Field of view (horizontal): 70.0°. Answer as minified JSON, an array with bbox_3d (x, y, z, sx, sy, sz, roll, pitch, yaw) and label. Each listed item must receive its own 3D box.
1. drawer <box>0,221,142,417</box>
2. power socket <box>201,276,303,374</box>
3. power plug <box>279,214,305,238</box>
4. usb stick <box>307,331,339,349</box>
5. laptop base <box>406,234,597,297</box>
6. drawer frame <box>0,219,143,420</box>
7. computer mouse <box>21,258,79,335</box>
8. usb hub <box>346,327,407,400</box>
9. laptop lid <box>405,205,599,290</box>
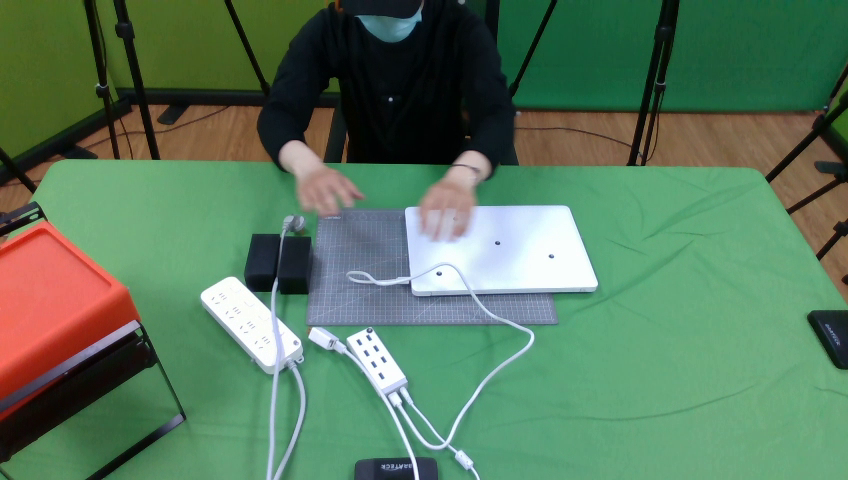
[{"bbox_3d":[-0.516,0.095,0.780,0.193,0.073,0.211,32,53,23],"label":"drawer"},{"bbox_3d":[-0.296,0.142,1.034,0.225,0.033,0.072,37,55,27],"label":"power socket"},{"bbox_3d":[-0.261,-0.020,1.185,0.035,0.053,0.072,12,57,33],"label":"power plug"},{"bbox_3d":[-0.175,0.167,1.023,0.059,0.027,0.021,9,89,24],"label":"usb stick"},{"bbox_3d":[0.143,0.018,1.196,0.355,0.023,0.234,-1,43,-6],"label":"laptop base"},{"bbox_3d":[-0.518,0.096,0.777,0.201,0.083,0.213,30,52,22],"label":"drawer frame"},{"bbox_3d":[-0.505,0.073,0.819,0.063,0.041,0.116,-5,57,-19],"label":"computer mouse"},{"bbox_3d":[-0.078,0.202,0.998,0.049,0.025,0.124,-23,52,-24],"label":"usb hub"},{"bbox_3d":[0.143,0.008,1.189,0.357,0.013,0.240,0,44,-5],"label":"laptop lid"}]
